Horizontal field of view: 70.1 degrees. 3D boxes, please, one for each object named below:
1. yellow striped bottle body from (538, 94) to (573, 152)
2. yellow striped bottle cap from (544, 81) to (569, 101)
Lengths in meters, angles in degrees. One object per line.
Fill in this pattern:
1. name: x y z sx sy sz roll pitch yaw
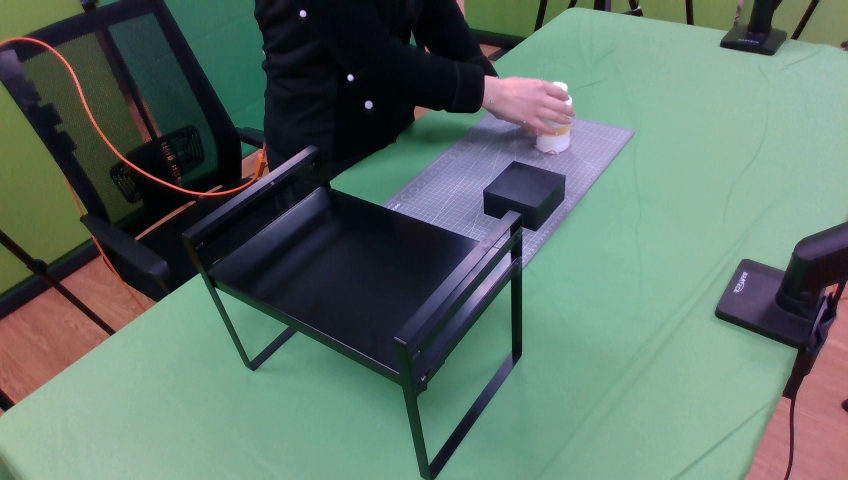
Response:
1. yellow striped bottle body: 0.244 -0.230 1.127 0.063 0.121 0.062 -5 41 4
2. yellow striped bottle cap: 0.239 -0.270 1.093 0.044 0.019 0.044 -5 41 5
